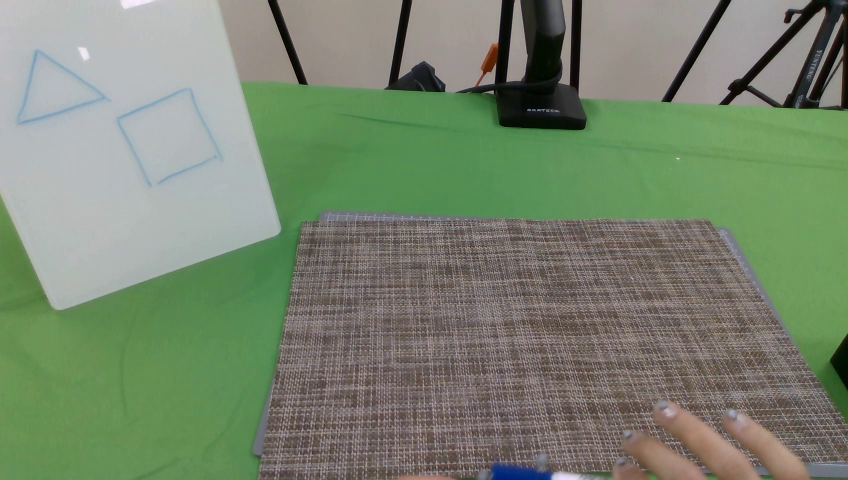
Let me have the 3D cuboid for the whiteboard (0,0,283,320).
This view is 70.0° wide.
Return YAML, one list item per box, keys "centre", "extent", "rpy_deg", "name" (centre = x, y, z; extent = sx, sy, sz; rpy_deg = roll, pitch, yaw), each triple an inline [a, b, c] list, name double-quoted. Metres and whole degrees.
- centre: [-0.295, -0.120, 0.579]
  extent: [0.217, 0.307, 0.142]
  rpy_deg: [-22, 26, -26]
  name: "whiteboard"

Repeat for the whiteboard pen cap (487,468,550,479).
- centre: [0.049, 0.129, 0.315]
  extent: [0.033, 0.018, 0.018]
  rpy_deg: [5, 39, 5]
  name: "whiteboard pen cap"

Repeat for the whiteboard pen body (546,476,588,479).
- centre: [0.111, 0.135, 0.312]
  extent: [0.141, 0.017, 0.017]
  rpy_deg: [6, 39, 3]
  name: "whiteboard pen body"
